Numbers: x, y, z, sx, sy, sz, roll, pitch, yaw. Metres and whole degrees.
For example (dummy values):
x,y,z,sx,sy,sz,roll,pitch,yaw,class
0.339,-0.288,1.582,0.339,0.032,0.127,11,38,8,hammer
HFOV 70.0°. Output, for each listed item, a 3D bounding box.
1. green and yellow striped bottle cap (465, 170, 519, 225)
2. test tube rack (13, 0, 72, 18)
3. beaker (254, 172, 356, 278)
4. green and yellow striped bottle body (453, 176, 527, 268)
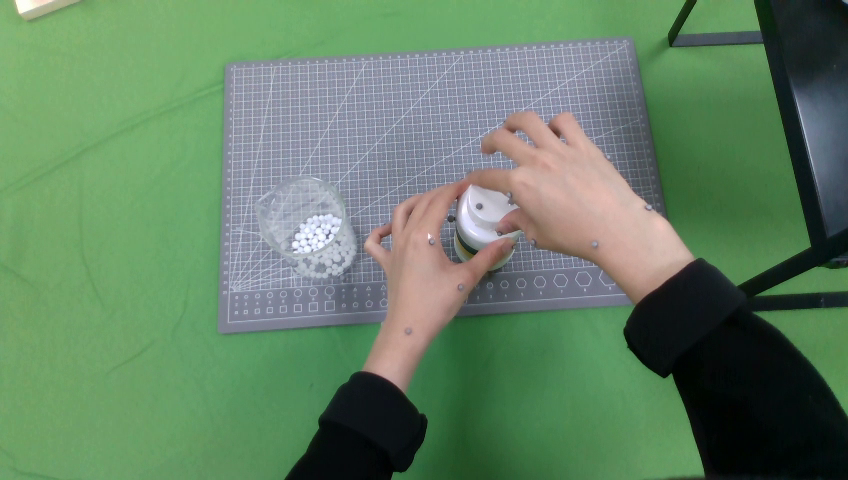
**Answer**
x,y,z,sx,sy,sz,roll,pitch,yaw,class
0.056,-0.036,0.502,0.045,0.020,0.045,0,76,0,green and yellow striped bottle cap
-0.362,-0.342,0.672,0.242,0.085,0.066,-24,74,-6,test tube rack
-0.106,-0.009,0.561,0.084,0.101,0.073,16,73,6,beaker
0.058,-0.019,0.551,0.063,0.120,0.063,0,73,2,green and yellow striped bottle body
